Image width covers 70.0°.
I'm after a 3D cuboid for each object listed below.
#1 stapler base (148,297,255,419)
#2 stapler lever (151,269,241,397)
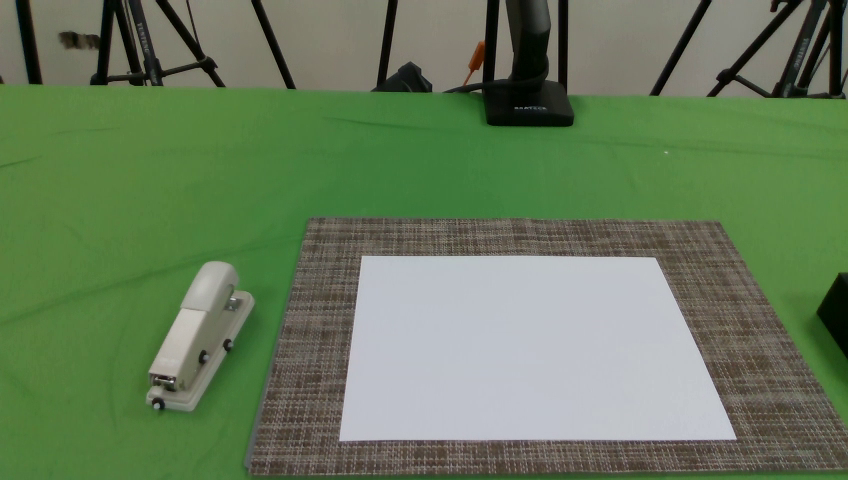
[{"bbox_3d":[-0.185,0.089,0.513,0.041,0.024,0.129,6,41,8],"label":"stapler base"},{"bbox_3d":[-0.185,0.071,0.496,0.027,0.040,0.117,6,40,8],"label":"stapler lever"}]
